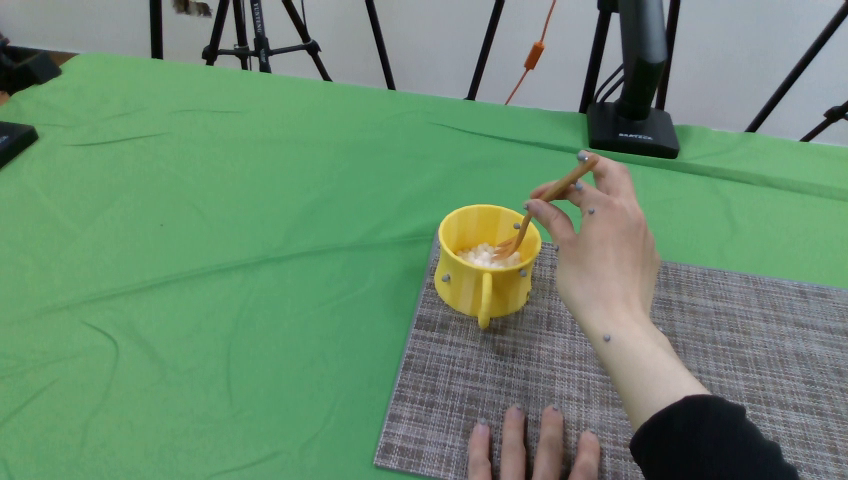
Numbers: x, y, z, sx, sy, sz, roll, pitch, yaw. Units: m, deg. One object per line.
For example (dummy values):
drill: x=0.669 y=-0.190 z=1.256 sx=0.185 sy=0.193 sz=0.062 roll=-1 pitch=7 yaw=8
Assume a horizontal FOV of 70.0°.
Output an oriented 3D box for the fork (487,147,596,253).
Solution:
fork: x=0.095 y=-0.029 z=0.528 sx=0.018 sy=0.208 sz=0.028 roll=31 pitch=65 yaw=1

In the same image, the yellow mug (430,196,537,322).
yellow mug: x=0.056 y=0.022 z=0.588 sx=0.100 sy=0.064 sz=0.129 roll=5 pitch=42 yaw=1
